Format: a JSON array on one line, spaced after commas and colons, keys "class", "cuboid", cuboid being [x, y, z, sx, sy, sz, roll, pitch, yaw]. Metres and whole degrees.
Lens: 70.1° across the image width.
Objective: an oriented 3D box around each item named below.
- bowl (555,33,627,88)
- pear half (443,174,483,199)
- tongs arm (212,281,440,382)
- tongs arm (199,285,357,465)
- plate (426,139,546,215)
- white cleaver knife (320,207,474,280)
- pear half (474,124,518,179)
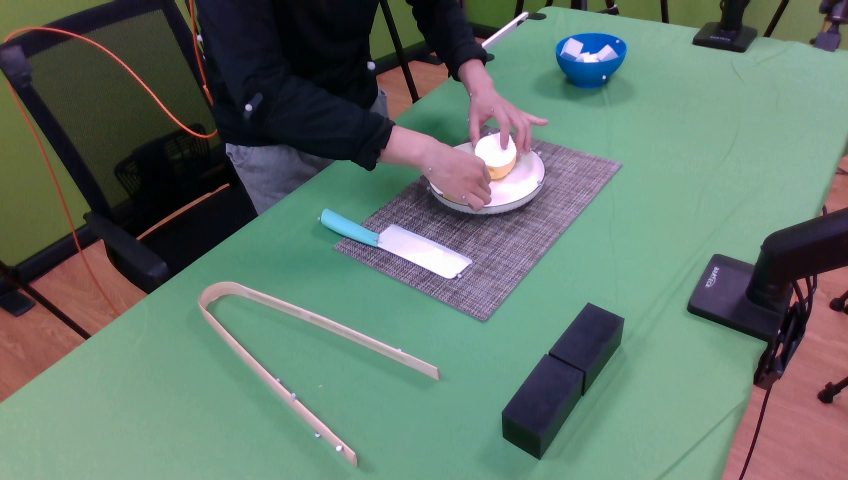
[{"class": "bowl", "cuboid": [0.360, -0.384, 1.317, 0.151, 0.077, 0.150, -4, 41, 4]}, {"class": "pear half", "cuboid": [0.062, -0.093, 1.019, 0.070, 0.031, 0.088, -24, 12, 5]}, {"class": "tongs arm", "cuboid": [-0.148, 0.121, 0.846, 0.385, 0.028, 0.028, 17, 48, 25]}, {"class": "tongs arm", "cuboid": [-0.199, 0.162, 0.797, 0.381, 0.026, 0.051, 28, 50, 35]}, {"class": "plate", "cuboid": [0.109, -0.107, 1.059, 0.207, 0.039, 0.206, -4, 41, 4]}, {"class": "white cleaver knife", "cuboid": [-0.052, 0.000, 0.977, 0.284, 0.021, 0.066, 24, 44, 26]}, {"class": "pear half", "cuboid": [0.132, -0.158, 1.079, 0.076, 0.056, 0.109, 22, 64, 6]}]
